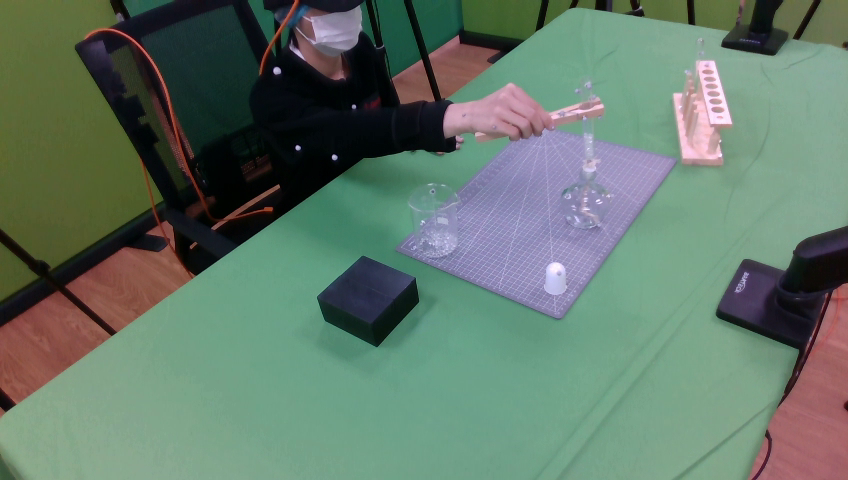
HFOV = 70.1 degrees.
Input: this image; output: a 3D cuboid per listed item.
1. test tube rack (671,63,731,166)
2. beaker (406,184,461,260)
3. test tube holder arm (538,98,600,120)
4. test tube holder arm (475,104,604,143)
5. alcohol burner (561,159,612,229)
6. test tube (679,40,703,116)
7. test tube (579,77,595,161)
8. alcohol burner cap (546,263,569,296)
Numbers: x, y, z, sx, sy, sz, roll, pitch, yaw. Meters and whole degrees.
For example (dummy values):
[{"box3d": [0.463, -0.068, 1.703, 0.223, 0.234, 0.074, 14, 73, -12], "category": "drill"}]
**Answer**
[{"box3d": [0.513, -0.241, 1.132, 0.066, 0.085, 0.242, 4, 41, 14], "category": "test tube rack"}, {"box3d": [0.019, -0.026, 0.939, 0.084, 0.101, 0.074, 1, 41, 10], "category": "beaker"}, {"box3d": [0.202, -0.177, 0.843, 0.088, 0.015, 0.010, -18, 47, 0], "category": "test tube holder arm"}, {"box3d": [0.160, -0.162, 0.842, 0.178, 0.015, 0.013, -13, 46, 6], "category": "test tube holder arm"}, {"box3d": [0.257, -0.077, 0.951, 0.078, 0.119, 0.077, -3, 40, 3], "category": "alcohol burner"}, {"box3d": [0.502, -0.303, 1.138, 0.017, 0.151, 0.017, -3, 40, 3], "category": "test tube"}, {"box3d": [0.231, -0.167, 0.854, 0.017, 0.151, 0.017, -9, 51, 12], "category": "test tube"}, {"box3d": [0.191, 0.053, 0.862, 0.034, 0.048, 0.033, -5, 40, 4], "category": "alcohol burner cap"}]
